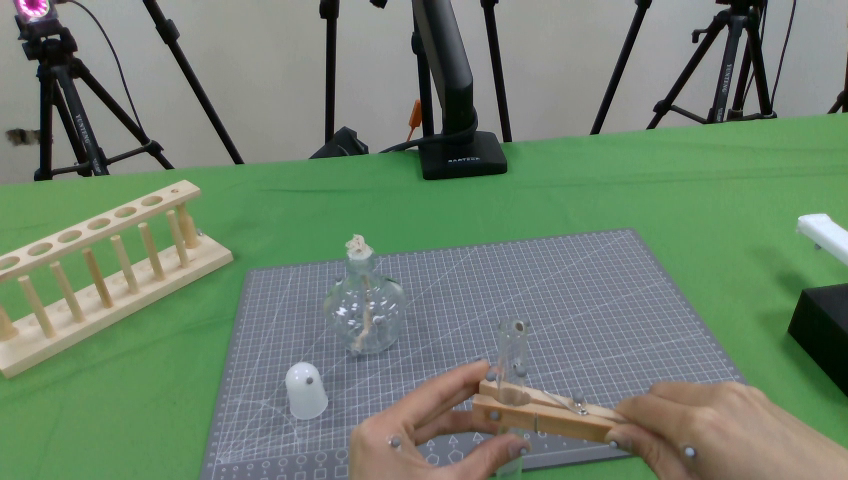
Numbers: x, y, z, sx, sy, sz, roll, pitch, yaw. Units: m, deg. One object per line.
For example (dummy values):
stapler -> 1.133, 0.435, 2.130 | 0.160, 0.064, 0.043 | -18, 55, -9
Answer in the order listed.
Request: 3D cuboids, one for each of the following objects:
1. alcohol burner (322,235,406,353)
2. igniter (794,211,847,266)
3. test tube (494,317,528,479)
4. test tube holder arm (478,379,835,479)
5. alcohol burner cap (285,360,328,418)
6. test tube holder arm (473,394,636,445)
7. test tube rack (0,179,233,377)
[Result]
alcohol burner -> -0.056, 0.044, 0.550 | 0.078, 0.120, 0.077 | -1, 36, 1
igniter -> 0.408, 0.048, 0.502 | 0.057, 0.025, 0.273 | -7, 31, -4
test tube -> 0.049, 0.109, 0.353 | 0.017, 0.151, 0.017 | -2, 29, 1
test tube holder arm -> 0.114, 0.100, 0.322 | 0.177, 0.015, 0.013 | 8, 38, 21
alcohol burner cap -> -0.099, 0.121, 0.505 | 0.034, 0.048, 0.033 | -1, 35, 1
test tube holder arm -> 0.070, 0.098, 0.333 | 0.087, 0.015, 0.010 | 4, 36, 16
test tube rack -> -0.329, 0.028, 0.626 | 0.066, 0.086, 0.242 | 27, 44, 36
